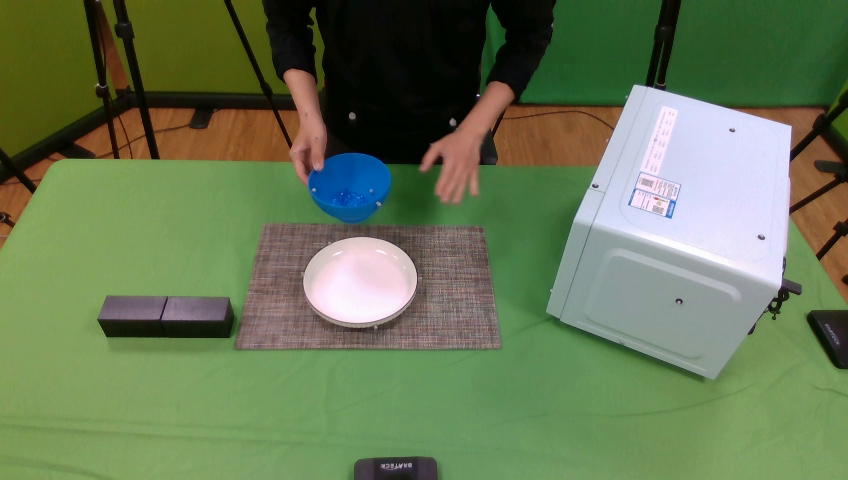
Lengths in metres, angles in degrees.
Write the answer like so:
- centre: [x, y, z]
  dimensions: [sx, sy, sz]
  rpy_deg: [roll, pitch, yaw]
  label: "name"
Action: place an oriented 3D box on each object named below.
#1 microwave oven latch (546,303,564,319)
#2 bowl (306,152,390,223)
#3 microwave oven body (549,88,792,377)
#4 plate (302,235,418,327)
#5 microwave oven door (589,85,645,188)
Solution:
- centre: [0.242, 0.102, 1.081]
  dimensions: [0.030, 0.029, 0.079]
  rpy_deg: [21, 48, 17]
  label: "microwave oven latch"
- centre: [-0.135, -0.085, 1.115]
  dimensions: [0.151, 0.077, 0.150]
  rpy_deg: [0, 47, 0]
  label: "bowl"
- centre: [0.456, -0.028, 1.088]
  dimensions: [0.325, 0.261, 0.440]
  rpy_deg: [20, 47, 16]
  label: "microwave oven body"
- centre: [-0.114, 0.077, 1.098]
  dimensions: [0.208, 0.039, 0.206]
  rpy_deg: [2, 46, -2]
  label: "plate"
- centre: [0.342, -0.107, 1.149]
  dimensions: [0.039, 0.245, 0.354]
  rpy_deg: [21, 48, 15]
  label: "microwave oven door"
